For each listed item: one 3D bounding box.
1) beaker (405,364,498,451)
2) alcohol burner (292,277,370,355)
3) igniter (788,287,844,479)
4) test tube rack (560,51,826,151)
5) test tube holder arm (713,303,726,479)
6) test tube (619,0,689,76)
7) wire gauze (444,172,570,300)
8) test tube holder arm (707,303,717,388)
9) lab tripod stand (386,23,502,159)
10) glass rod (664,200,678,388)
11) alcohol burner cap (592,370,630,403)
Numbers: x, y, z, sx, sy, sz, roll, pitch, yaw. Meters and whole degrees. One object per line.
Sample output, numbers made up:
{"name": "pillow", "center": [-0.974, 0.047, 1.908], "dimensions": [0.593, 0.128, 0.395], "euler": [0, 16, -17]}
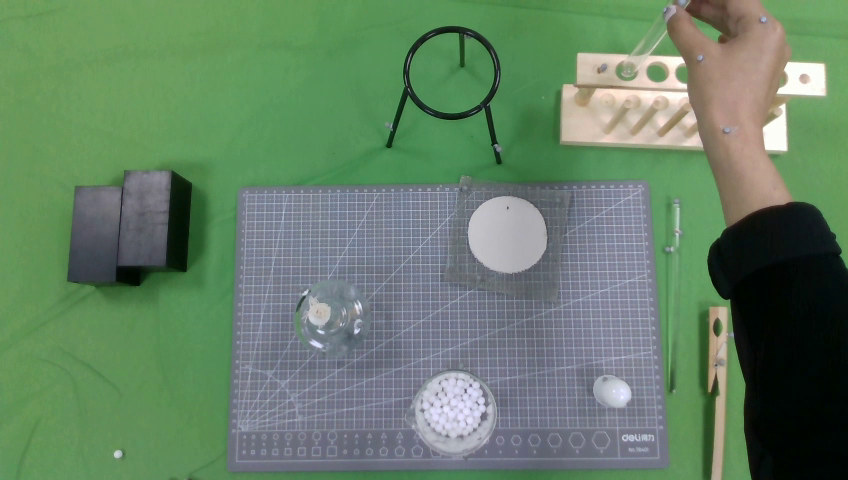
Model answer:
{"name": "beaker", "center": [0.026, 0.157, 0.582], "dimensions": [0.084, 0.100, 0.073], "euler": [-9, 80, 1]}
{"name": "alcohol burner", "center": [-0.094, 0.072, 0.590], "dimensions": [0.078, 0.119, 0.077], "euler": [-1, 80, 4]}
{"name": "igniter", "center": [0.395, 0.185, 0.608], "dimensions": [0.057, 0.025, 0.275], "euler": [9, 81, -7]}
{"name": "test tube rack", "center": [0.271, -0.143, 0.632], "dimensions": [0.242, 0.085, 0.066], "euler": [3, 81, 2]}
{"name": "test tube holder arm", "center": [0.301, 0.154, 0.618], "dimensions": [0.013, 0.015, 0.178], "euler": [-3, 80, 36]}
{"name": "test tube", "center": [0.201, -0.181, 0.531], "dimensions": [0.017, 0.150, 0.017], "euler": [0, 80, 0]}
{"name": "wire gauze", "center": [0.090, -0.006, 0.652], "dimensions": [0.125, 0.011, 0.121], "euler": [10, 83, 2]}
{"name": "test tube holder arm", "center": [0.300, 0.109, 0.627], "dimensions": [0.010, 0.015, 0.087], "euler": [-2, 80, 36]}
{"name": "lab tripod stand", "center": [0.024, -0.143, 0.613], "dimensions": [0.148, 0.132, 0.148], "euler": [0, 83, 2]}
{"name": "glass rod", "center": [0.261, 0.056, 0.640], "dimensions": [0.008, 0.008, 0.199], "euler": [5, 84, 2]}
{"name": "alcohol burner cap", "center": [0.190, 0.148, 0.608], "dimensions": [0.034, 0.048, 0.033], "euler": [0, 81, 1]}
